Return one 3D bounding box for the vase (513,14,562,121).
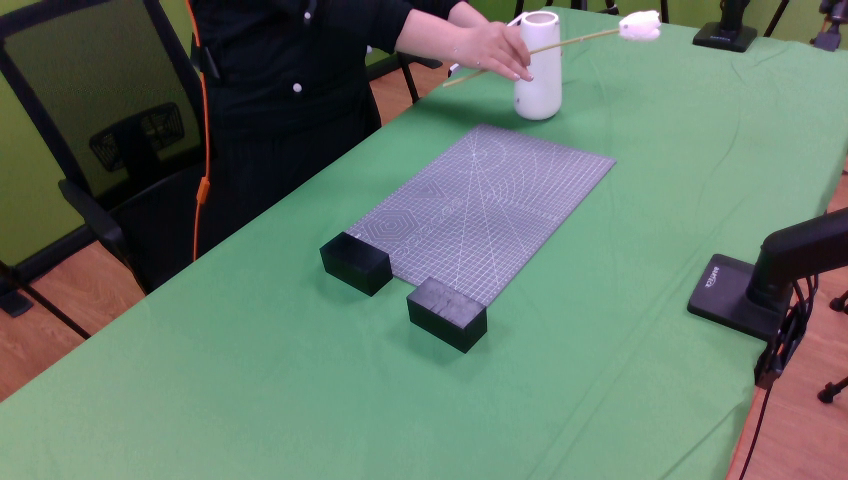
[{"bbox_3d":[0.225,-0.336,1.196,0.098,0.201,0.097,-5,42,5],"label":"vase"}]

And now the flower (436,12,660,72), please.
[{"bbox_3d":[0.188,-0.307,0.973,0.360,0.044,0.038,-6,1,21],"label":"flower"}]
